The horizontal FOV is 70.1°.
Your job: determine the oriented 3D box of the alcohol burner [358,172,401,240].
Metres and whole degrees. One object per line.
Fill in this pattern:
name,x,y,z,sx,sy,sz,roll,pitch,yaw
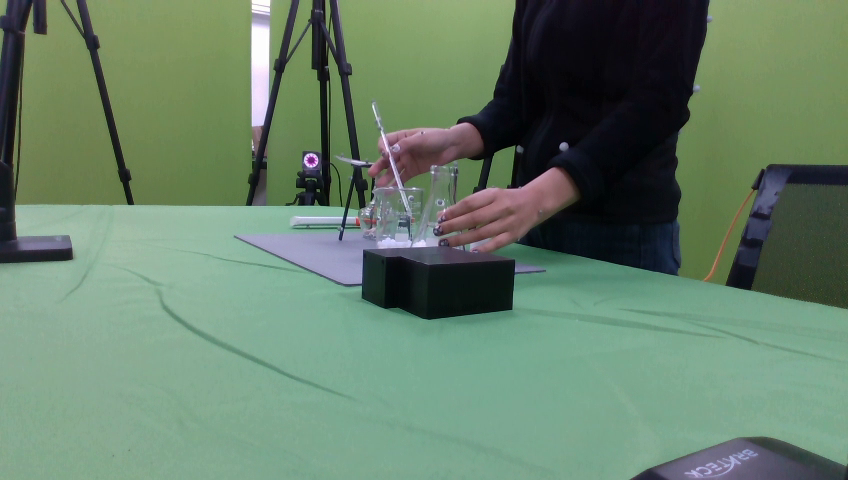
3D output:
alcohol burner,-0.077,-0.061,1.065,0.078,0.119,0.078,4,9,0

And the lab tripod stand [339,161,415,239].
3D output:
lab tripod stand,-0.082,-0.070,1.059,0.148,0.131,0.148,4,6,0

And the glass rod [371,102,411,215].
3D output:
glass rod,-0.051,-0.126,0.917,0.008,0.199,0.008,-17,-18,-5

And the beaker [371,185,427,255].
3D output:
beaker,-0.038,-0.031,0.905,0.084,0.100,0.073,-1,7,-21

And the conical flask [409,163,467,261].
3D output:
conical flask,0.022,-0.037,0.776,0.075,0.122,0.075,4,7,0

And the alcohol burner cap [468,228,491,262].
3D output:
alcohol burner cap,0.082,0.006,0.878,0.034,0.048,0.034,4,8,0

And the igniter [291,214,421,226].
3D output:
igniter,-0.135,-0.041,1.250,0.278,0.025,0.057,-1,-3,-28

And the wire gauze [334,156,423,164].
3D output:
wire gauze,-0.081,-0.137,1.051,0.122,0.011,0.124,0,8,-30
